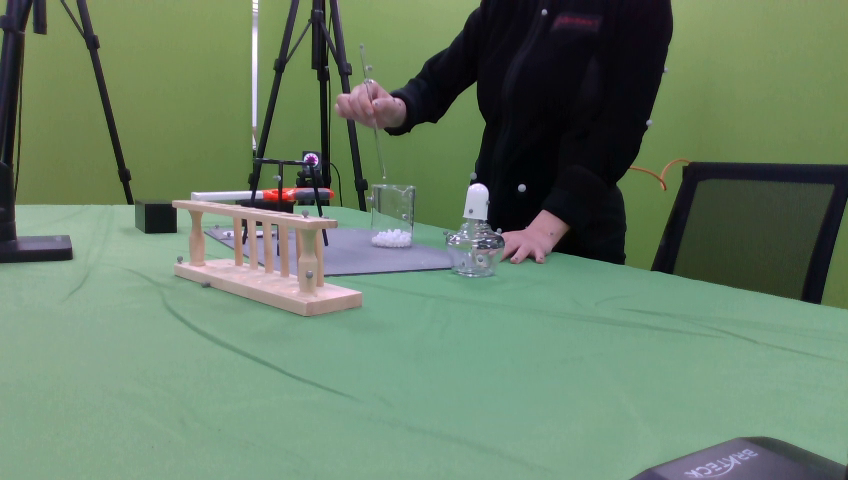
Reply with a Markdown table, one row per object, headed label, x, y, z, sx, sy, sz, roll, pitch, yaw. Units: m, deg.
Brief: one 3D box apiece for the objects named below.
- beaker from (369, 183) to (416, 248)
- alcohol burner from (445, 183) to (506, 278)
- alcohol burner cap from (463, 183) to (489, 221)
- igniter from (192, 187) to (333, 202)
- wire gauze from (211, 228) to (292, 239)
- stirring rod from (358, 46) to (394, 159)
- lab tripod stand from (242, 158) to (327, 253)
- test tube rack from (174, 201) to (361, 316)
| label | x | y | z | sx | sy | sz | roll | pitch | yaw |
| --- | --- | --- | --- | --- | --- | --- | --- | --- | --- |
| beaker | -0.050 | -0.039 | 0.971 | 0.074 | 0.100 | 0.083 | -1 | 9 | -25 |
| alcohol burner | 0.066 | -0.013 | 0.770 | 0.078 | 0.119 | 0.078 | 0 | 7 | 0 |
| alcohol burner cap | 0.067 | -0.048 | 0.765 | 0.034 | 0.048 | 0.034 | 5 | 5 | 0 |
| igniter | -0.316 | -0.090 | 1.213 | 0.278 | 0.025 | 0.057 | -5 | 13 | -31 |
| wire gauze | -0.298 | -0.013 | 1.039 | 0.122 | 0.011 | 0.124 | -2 | 6 | -27 |
| stirring rod | -0.074 | -0.212 | 0.937 | 0.006 | 0.176 | 0.014 | -21 | 12 | -28 |
| lab tripod stand | -0.207 | -0.054 | 0.895 | 0.148 | 0.131 | 0.148 | 2 | 5 | 0 |
| test tube rack | -0.169 | 0.010 | 0.622 | 0.241 | 0.085 | 0.067 | 9 | 9 | 41 |
